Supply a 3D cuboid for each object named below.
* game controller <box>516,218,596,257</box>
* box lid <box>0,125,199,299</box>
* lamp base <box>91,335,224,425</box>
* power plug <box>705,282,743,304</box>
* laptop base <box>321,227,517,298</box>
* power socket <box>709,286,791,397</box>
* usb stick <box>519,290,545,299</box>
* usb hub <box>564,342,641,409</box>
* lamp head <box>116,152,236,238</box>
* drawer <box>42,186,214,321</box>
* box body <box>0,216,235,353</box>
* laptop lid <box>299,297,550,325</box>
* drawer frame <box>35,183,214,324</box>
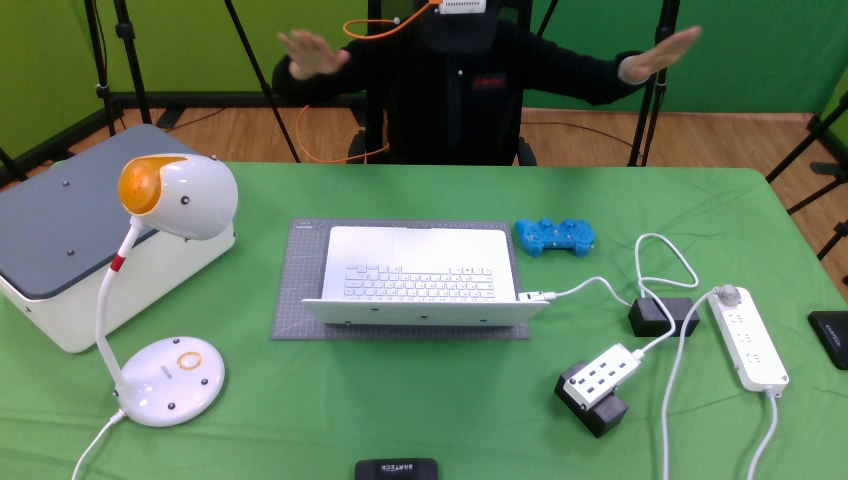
[{"bbox_3d":[0.267,-0.015,1.212,0.155,0.052,0.096,0,50,-3],"label":"game controller"},{"bbox_3d":[-0.540,-0.068,1.016,0.262,0.015,0.371,30,51,23],"label":"box lid"},{"bbox_3d":[-0.401,0.170,0.892,0.160,0.181,0.179,30,53,23],"label":"lamp base"},{"bbox_3d":[0.539,0.097,1.098,0.072,0.053,0.035,8,47,8],"label":"power plug"},{"bbox_3d":[-0.009,0.062,1.137,0.354,0.023,0.234,1,42,-3],"label":"laptop base"},{"bbox_3d":[0.568,0.167,1.064,0.072,0.033,0.225,2,46,-1],"label":"power socket"},{"bbox_3d":[0.186,0.108,1.086,0.059,0.027,0.021,-7,47,1],"label":"usb stick"},{"bbox_3d":[0.278,0.208,0.942,0.125,0.025,0.049,-27,51,-28],"label":"usb hub"},{"bbox_3d":[-0.315,-0.057,0.747,0.112,0.112,0.123,26,10,20],"label":"lamp head"},{"bbox_3d":[-0.529,0.018,1.097,0.194,0.073,0.211,29,53,20],"label":"drawer"},{"bbox_3d":[-0.550,-0.007,1.068,0.253,0.161,0.363,30,51,23],"label":"box body"},{"bbox_3d":[-0.002,0.114,0.943,0.357,0.242,0.013,1,74,-4],"label":"laptop lid"},{"bbox_3d":[-0.531,0.018,1.092,0.201,0.083,0.213,29,52,21],"label":"drawer frame"}]
